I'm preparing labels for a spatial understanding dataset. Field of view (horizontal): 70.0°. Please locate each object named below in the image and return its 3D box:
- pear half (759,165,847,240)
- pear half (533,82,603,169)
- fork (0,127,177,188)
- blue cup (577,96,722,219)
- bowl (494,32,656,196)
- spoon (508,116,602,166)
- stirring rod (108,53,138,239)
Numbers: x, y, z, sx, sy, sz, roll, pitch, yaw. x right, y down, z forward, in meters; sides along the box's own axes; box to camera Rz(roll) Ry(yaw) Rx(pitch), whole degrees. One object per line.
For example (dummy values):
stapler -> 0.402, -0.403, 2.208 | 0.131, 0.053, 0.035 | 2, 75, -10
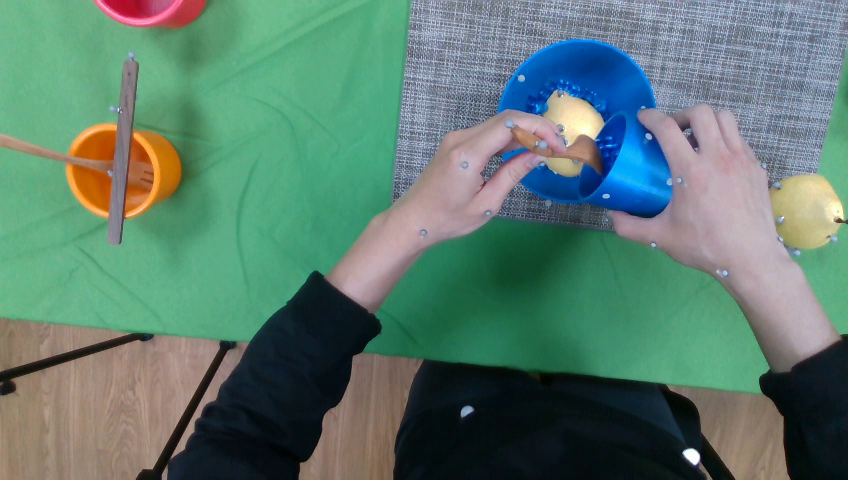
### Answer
pear half -> 0.376, -0.034, 0.604 | 0.056, 0.109, 0.076 | -12, 98, 3
pear half -> 0.144, -0.114, 0.593 | 0.070, 0.031, 0.088 | -20, 96, -1
fork -> -0.337, -0.085, 0.572 | 0.209, 0.018, 0.028 | 15, 116, -48
blue cup -> 0.201, -0.063, 0.535 | 0.100, 0.092, 0.093 | 20, 101, -5
bowl -> 0.141, -0.122, 0.599 | 0.151, 0.076, 0.152 | 0, 102, 0
spoon -> 0.108, -0.078, 0.483 | 0.021, 0.194, 0.041 | -32, 77, 32
stirring rod -> -0.284, -0.086, 0.571 | 0.014, 0.006, 0.176 | 10, 103, -5
